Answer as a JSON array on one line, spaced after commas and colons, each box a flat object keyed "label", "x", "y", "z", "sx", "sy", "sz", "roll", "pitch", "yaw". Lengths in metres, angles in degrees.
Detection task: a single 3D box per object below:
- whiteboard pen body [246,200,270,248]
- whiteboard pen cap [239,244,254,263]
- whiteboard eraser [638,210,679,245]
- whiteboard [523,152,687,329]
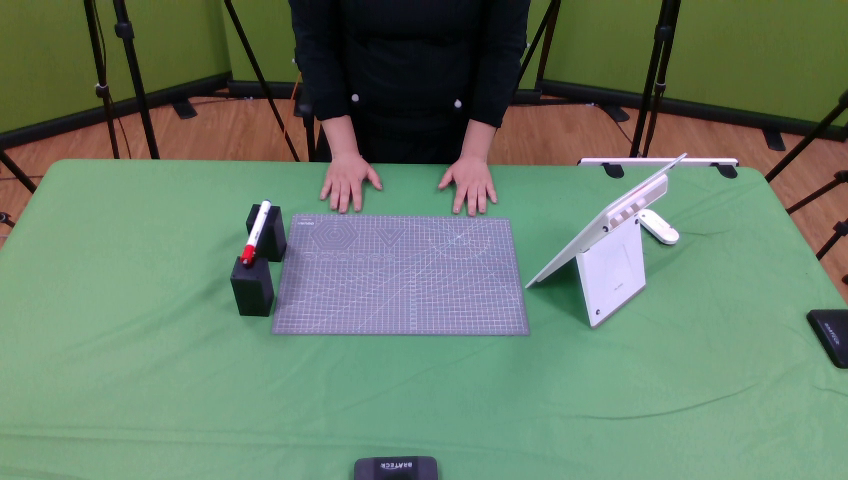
[{"label": "whiteboard pen body", "x": -0.293, "y": -0.020, "z": 1.059, "sx": 0.017, "sy": 0.017, "sz": 0.139, "roll": 5, "pitch": 46, "yaw": 0}, {"label": "whiteboard pen cap", "x": -0.298, "y": 0.022, "z": 1.016, "sx": 0.017, "sy": 0.017, "sz": 0.032, "roll": 6, "pitch": 45, "yaw": 2}, {"label": "whiteboard eraser", "x": 0.485, "y": -0.027, "z": 1.260, "sx": 0.041, "sy": 0.019, "sz": 0.100, "roll": -21, "pitch": 50, "yaw": -21}, {"label": "whiteboard", "x": 0.346, "y": 0.025, "z": 1.047, "sx": 0.217, "sy": 0.306, "sz": 0.143, "roll": -30, "pitch": 74, "yaw": -29}]
